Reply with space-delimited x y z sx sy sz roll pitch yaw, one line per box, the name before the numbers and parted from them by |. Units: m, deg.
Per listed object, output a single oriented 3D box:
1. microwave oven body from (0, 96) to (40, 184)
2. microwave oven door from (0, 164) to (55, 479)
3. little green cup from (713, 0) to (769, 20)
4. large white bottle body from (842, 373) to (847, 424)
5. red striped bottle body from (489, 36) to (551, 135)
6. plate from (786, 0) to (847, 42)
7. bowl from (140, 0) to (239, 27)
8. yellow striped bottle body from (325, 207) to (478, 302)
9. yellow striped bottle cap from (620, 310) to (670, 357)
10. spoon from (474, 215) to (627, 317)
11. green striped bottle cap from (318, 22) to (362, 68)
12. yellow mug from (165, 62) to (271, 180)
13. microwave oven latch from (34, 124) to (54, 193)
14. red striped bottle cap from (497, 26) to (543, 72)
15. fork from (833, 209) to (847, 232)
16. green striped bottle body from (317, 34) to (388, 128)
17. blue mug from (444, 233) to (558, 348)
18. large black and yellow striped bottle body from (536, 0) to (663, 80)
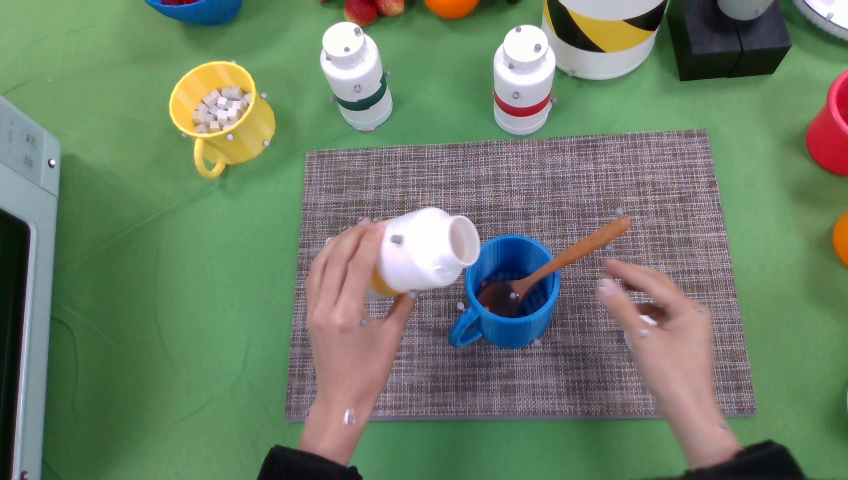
microwave oven body | -0.576 0.064 0.553 0.326 0.262 0.438 -11 69 2
microwave oven door | -0.426 0.073 0.527 0.039 0.245 0.353 -11 69 3
little green cup | 0.340 -0.267 0.643 0.061 0.039 0.061 -1 67 3
large white bottle body | 0.433 0.124 0.462 0.130 0.186 0.129 -2 69 6
red striped bottle body | 0.101 -0.168 0.643 0.063 0.120 0.062 -3 68 8
plate | 0.509 -0.304 0.693 0.209 0.038 0.207 -2 70 6
bowl | -0.285 -0.327 0.768 0.151 0.077 0.150 -2 69 5
yellow striped bottle body | -0.017 0.011 0.480 0.120 0.063 0.062 -14 63 39
yellow striped bottle cap | 0.214 0.090 0.587 0.044 0.019 0.044 -2 68 6
spoon | 0.102 0.029 0.527 0.022 0.194 0.041 -2 65 -32
green striped bottle cap | -0.086 -0.200 0.619 0.044 0.020 0.044 -1 70 3
yellow mug | -0.239 -0.131 0.696 0.100 0.064 0.130 7 71 9
microwave oven latch | -0.449 -0.092 0.700 0.030 0.030 0.078 -10 70 2
red striped bottle cap | 0.095 -0.188 0.595 0.044 0.018 0.044 -1 68 2
fork | 0.459 0.007 0.522 0.028 0.019 0.205 -39 26 -8
green striped bottle body | -0.079 -0.181 0.668 0.063 0.120 0.062 -2 69 5
blue mug | 0.066 0.060 0.566 0.116 0.106 0.081 -38 69 -8
large black and yellow striped bottle body | 0.188 -0.274 0.639 0.130 0.185 0.130 -2 69 6
